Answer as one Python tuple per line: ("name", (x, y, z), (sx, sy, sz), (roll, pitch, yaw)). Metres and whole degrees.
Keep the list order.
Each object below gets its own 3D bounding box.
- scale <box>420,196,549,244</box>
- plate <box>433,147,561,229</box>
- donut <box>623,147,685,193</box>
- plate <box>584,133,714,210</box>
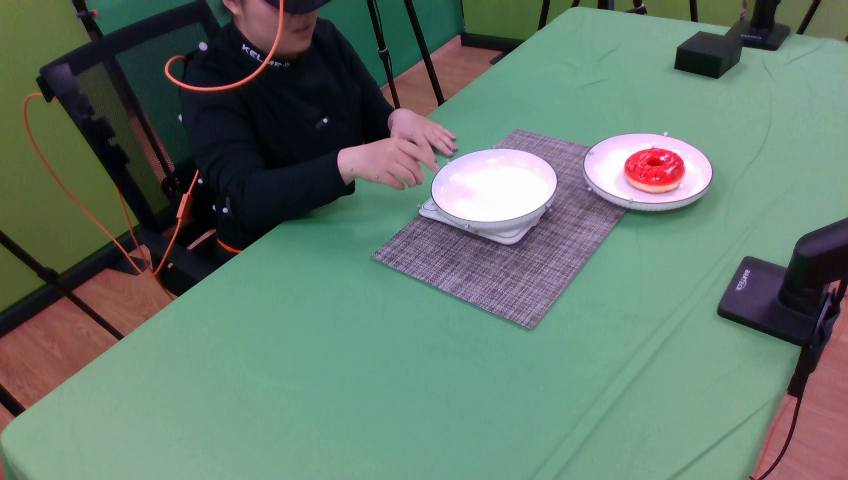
("scale", (0.106, -0.065, 1.029), (0.199, 0.032, 0.149), (21, 48, 32))
("plate", (0.120, -0.082, 0.996), (0.207, 0.039, 0.206), (-6, 40, 5))
("donut", (0.388, -0.119, 1.019), (0.099, 0.048, 0.098), (-4, 42, 4))
("plate", (0.379, -0.113, 1.030), (0.209, 0.038, 0.208), (-4, 41, 4))
